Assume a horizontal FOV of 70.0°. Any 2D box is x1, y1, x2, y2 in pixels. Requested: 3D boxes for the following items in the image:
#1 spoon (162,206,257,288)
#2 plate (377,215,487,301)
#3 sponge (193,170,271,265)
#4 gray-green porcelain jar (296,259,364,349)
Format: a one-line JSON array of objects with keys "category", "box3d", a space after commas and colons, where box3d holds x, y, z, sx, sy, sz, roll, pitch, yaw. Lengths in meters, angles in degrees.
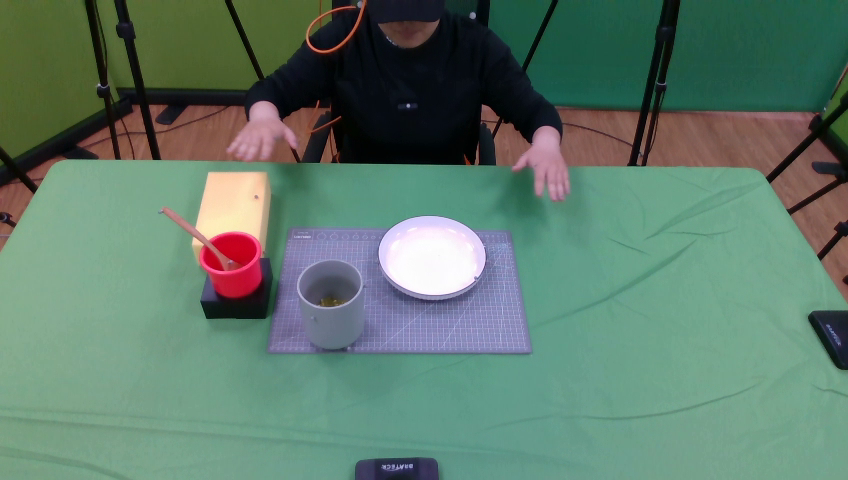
[{"category": "spoon", "box3d": [-0.355, 0.011, 1.006, 0.194, 0.021, 0.041, 48, 45, -19]}, {"category": "plate", "box3d": [0.014, 0.037, 1.147, 0.208, 0.039, 0.206, 2, 46, -2]}, {"category": "sponge", "box3d": [-0.371, -0.047, 1.189, 0.118, 0.061, 0.205, -3, 47, -6]}, {"category": "gray-green porcelain jar", "box3d": [-0.153, 0.111, 1.003, 0.106, 0.127, 0.105, 2, 46, -2]}]
